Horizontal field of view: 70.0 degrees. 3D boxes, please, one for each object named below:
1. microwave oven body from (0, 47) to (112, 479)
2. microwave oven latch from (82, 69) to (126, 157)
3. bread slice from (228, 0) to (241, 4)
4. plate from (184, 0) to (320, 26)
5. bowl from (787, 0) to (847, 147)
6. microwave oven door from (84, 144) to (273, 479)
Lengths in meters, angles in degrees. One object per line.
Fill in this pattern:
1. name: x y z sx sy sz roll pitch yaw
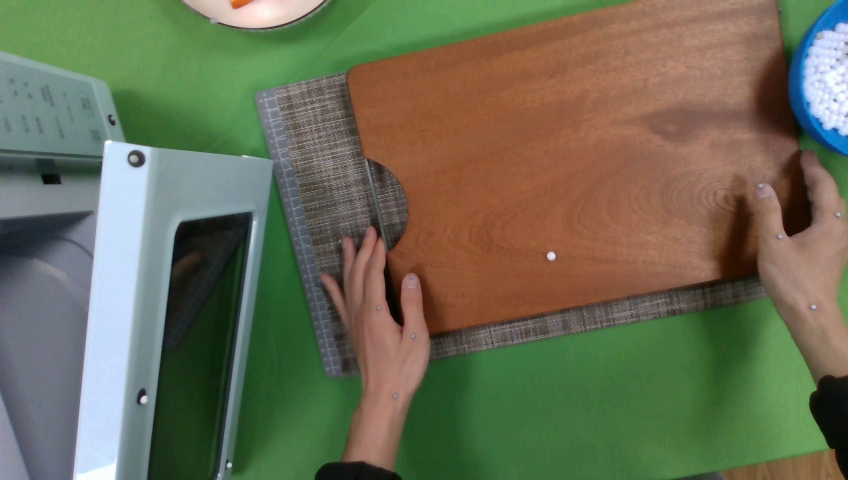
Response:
1. microwave oven body: -0.418 0.097 0.514 0.326 0.259 0.442 -14 97 4
2. microwave oven latch: -0.313 -0.120 0.579 0.030 0.029 0.079 -13 97 4
3. bread slice: -0.168 -0.305 0.567 0.105 0.019 0.132 -27 96 4
4. plate: -0.161 -0.306 0.566 0.207 0.039 0.208 0 97 3
5. bowl: 0.390 -0.153 0.541 0.151 0.076 0.151 0 98 2
6. microwave oven door: -0.197 0.100 0.501 0.039 0.243 0.356 9 97 2
